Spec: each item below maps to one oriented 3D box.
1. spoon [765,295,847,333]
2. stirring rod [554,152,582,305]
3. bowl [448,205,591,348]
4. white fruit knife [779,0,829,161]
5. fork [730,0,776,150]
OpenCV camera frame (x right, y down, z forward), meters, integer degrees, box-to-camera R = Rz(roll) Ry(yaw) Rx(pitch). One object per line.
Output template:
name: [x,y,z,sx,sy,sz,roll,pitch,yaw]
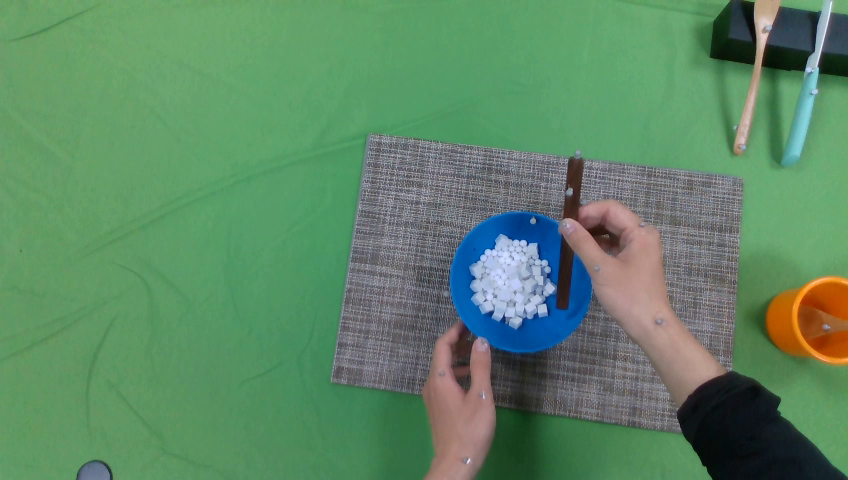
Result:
spoon: [0.461,0.084,0.625,0.022,0.192,0.041,16,80,-42]
stirring rod: [0.137,-0.005,0.578,0.014,0.178,0.006,6,37,15]
bowl: [0.101,0.043,0.669,0.151,0.077,0.151,0,81,1]
white fruit knife: [0.441,-0.195,0.696,0.016,0.027,0.207,8,98,0]
fork: [0.380,-0.208,0.700,0.028,0.018,0.208,5,102,0]
